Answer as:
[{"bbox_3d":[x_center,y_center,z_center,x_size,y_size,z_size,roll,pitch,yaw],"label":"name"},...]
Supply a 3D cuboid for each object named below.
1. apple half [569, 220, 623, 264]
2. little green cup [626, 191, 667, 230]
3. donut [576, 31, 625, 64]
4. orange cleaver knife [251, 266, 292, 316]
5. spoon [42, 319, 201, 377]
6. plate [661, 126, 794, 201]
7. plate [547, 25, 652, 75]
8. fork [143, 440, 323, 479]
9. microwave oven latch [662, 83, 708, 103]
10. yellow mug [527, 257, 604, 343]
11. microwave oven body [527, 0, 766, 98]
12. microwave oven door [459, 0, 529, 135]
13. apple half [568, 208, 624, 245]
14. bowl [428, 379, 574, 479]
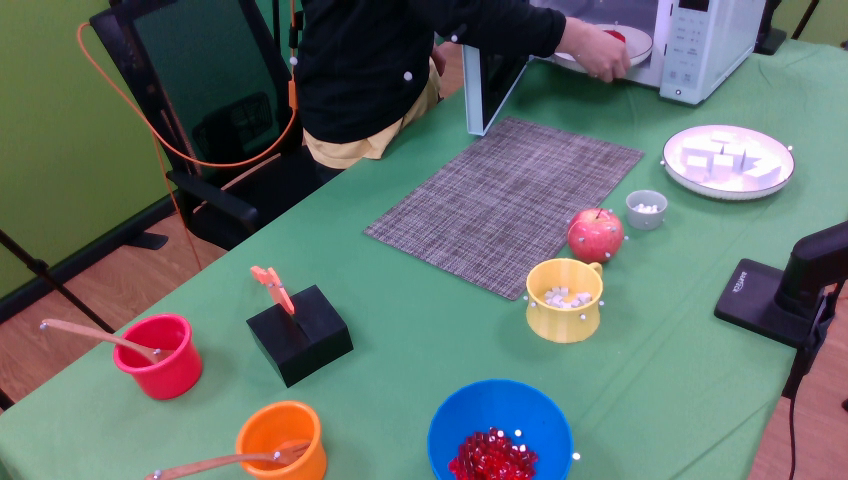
[{"bbox_3d":[0.251,0.010,0.884,0.081,0.081,0.032,3,37,12],"label":"apple half"},{"bbox_3d":[0.352,-0.046,0.963,0.061,0.039,0.061,-4,40,4],"label":"little green cup"},{"bbox_3d":[0.362,-0.396,1.239,0.099,0.048,0.098,-11,33,8],"label":"donut"},{"bbox_3d":[-0.221,0.071,0.873,0.012,0.077,0.210,-25,11,-21],"label":"orange cleaver knife"},{"bbox_3d":[-0.385,0.135,0.779,0.195,0.021,0.041,28,36,-26],"label":"spoon"},{"bbox_3d":[0.513,-0.128,1.035,0.207,0.039,0.206,-4,40,4],"label":"plate"},{"bbox_3d":[0.360,-0.389,1.249,0.209,0.038,0.208,-4,39,4],"label":"plate"},{"bbox_3d":[-0.190,0.231,0.631,0.028,0.018,0.209,38,14,37],"label":"fork"},{"bbox_3d":[0.518,-0.296,1.204,0.078,0.029,0.030,28,52,36],"label":"microwave oven latch"},{"bbox_3d":[0.201,0.072,0.825,0.131,0.064,0.099,-32,46,-27],"label":"yellow mug"},{"bbox_3d":[0.472,-0.513,1.317,0.438,0.261,0.327,25,51,34],"label":"microwave oven body"},{"bbox_3d":[0.153,-0.410,1.237,0.039,0.245,0.356,11,44,20],"label":"microwave oven door"},{"bbox_3d":[0.259,-0.014,0.914,0.080,0.075,0.053,0,36,15],"label":"apple half"},{"bbox_3d":[0.082,0.233,0.644,0.151,0.077,0.150,-4,39,4],"label":"bowl"}]
